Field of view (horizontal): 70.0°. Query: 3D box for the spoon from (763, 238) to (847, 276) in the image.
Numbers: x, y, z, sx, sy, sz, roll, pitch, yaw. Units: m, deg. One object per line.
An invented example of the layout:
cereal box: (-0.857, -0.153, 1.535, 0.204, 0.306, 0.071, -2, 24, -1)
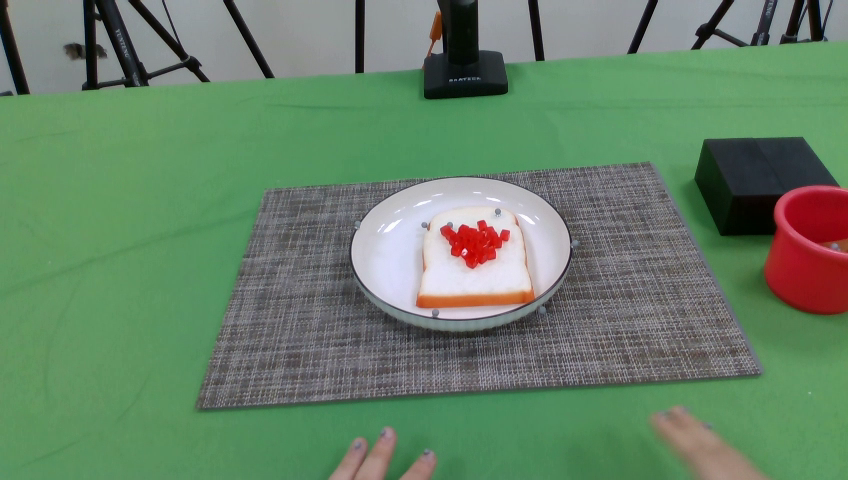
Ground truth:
spoon: (0.373, -0.005, 0.486, 0.022, 0.193, 0.041, 48, 50, -11)

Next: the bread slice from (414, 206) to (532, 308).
bread slice: (0.044, 0.012, 0.579, 0.105, 0.019, 0.130, -2, 41, 3)

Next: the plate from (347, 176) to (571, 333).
plate: (0.032, 0.012, 0.578, 0.209, 0.038, 0.207, -3, 41, 3)
